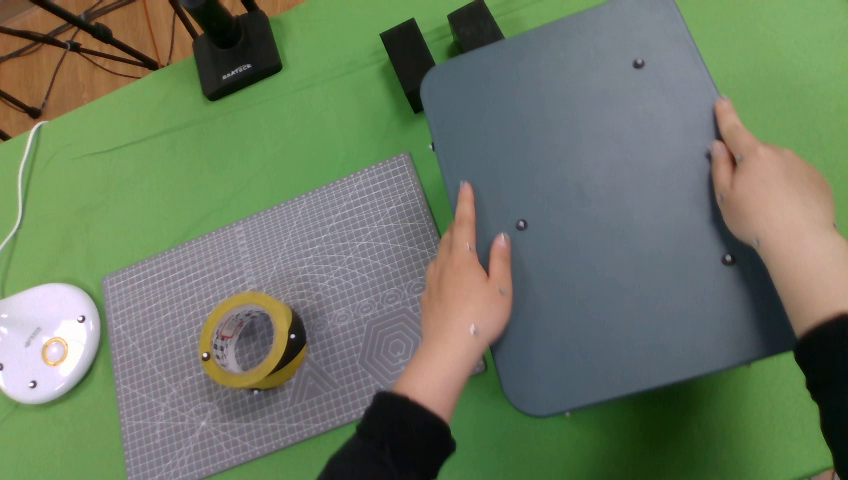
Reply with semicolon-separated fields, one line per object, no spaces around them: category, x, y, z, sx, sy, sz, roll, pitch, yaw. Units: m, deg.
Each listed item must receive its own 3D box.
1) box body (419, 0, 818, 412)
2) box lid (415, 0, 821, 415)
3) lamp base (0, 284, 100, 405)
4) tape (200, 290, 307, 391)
box body;0.169;-0.027;0.618;0.254;0.161;0.361;-18;69;7
box lid;0.151;-0.053;0.551;0.263;0.015;0.368;-18;69;7
lamp base;-0.529;0.107;0.732;0.178;0.182;0.160;16;76;21
tape;-0.203;0.119;0.716;0.116;0.053;0.116;-4;70;12
